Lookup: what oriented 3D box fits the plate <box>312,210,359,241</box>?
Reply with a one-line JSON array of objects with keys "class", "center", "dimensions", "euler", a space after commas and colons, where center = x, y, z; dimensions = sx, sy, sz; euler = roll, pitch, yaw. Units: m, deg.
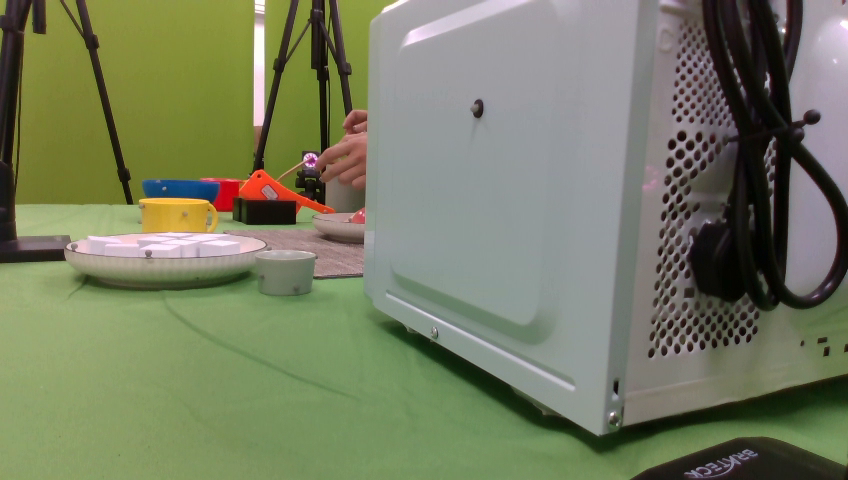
[{"class": "plate", "center": [-0.091, -0.026, 1.063], "dimensions": [0.209, 0.038, 0.209], "euler": [2, 8, 0]}]

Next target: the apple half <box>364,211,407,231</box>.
[{"class": "apple half", "center": [-0.068, -0.037, 1.103], "dimensions": [0.081, 0.033, 0.081], "euler": [-1, 10, 1]}]

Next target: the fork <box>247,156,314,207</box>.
[{"class": "fork", "center": [-0.360, -0.147, 1.522], "dimensions": [0.207, 0.018, 0.028], "euler": [-43, 13, -7]}]

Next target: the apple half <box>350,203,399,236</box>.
[{"class": "apple half", "center": [-0.082, -0.035, 1.024], "dimensions": [0.081, 0.053, 0.074], "euler": [-3, 11, -34]}]

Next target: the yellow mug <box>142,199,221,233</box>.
[{"class": "yellow mug", "center": [-0.372, -0.030, 0.948], "dimensions": [0.099, 0.064, 0.131], "euler": [6, 7, 30]}]

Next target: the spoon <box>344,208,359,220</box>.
[{"class": "spoon", "center": [-0.123, -0.048, 1.116], "dimensions": [0.041, 0.021, 0.194], "euler": [-2, 17, 18]}]

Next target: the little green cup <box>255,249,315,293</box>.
[{"class": "little green cup", "center": [-0.144, 0.031, 0.627], "dimensions": [0.061, 0.038, 0.061], "euler": [2, 6, 0]}]

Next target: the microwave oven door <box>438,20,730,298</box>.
[{"class": "microwave oven door", "center": [0.181, -0.076, 0.618], "dimensions": [0.358, 0.243, 0.039], "euler": [-2, 8, -28]}]

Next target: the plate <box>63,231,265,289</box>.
[{"class": "plate", "center": [-0.288, 0.021, 0.687], "dimensions": [0.208, 0.039, 0.207], "euler": [2, 8, 0]}]

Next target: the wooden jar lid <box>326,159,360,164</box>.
[{"class": "wooden jar lid", "center": [-0.185, -0.187, 1.481], "dimensions": [0.108, 0.020, 0.108], "euler": [4, 6, 0]}]

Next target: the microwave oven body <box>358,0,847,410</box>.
[{"class": "microwave oven body", "center": [0.210, -0.051, 0.471], "dimensions": [0.444, 0.260, 0.324], "euler": [-1, 7, -28]}]

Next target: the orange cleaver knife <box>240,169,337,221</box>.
[{"class": "orange cleaver knife", "center": [-0.287, -0.082, 1.298], "dimensions": [0.212, 0.077, 0.012], "euler": [25, -2, -31]}]

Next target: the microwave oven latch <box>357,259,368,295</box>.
[{"class": "microwave oven latch", "center": [-0.019, 0.031, 0.529], "dimensions": [0.079, 0.029, 0.030], "euler": [-1, 7, -26]}]

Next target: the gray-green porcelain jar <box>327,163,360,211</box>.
[{"class": "gray-green porcelain jar", "center": [-0.187, -0.125, 1.490], "dimensions": [0.106, 0.126, 0.106], "euler": [2, 8, 0]}]

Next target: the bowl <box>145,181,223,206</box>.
[{"class": "bowl", "center": [-0.499, -0.081, 1.261], "dimensions": [0.151, 0.077, 0.151], "euler": [2, 7, 0]}]
